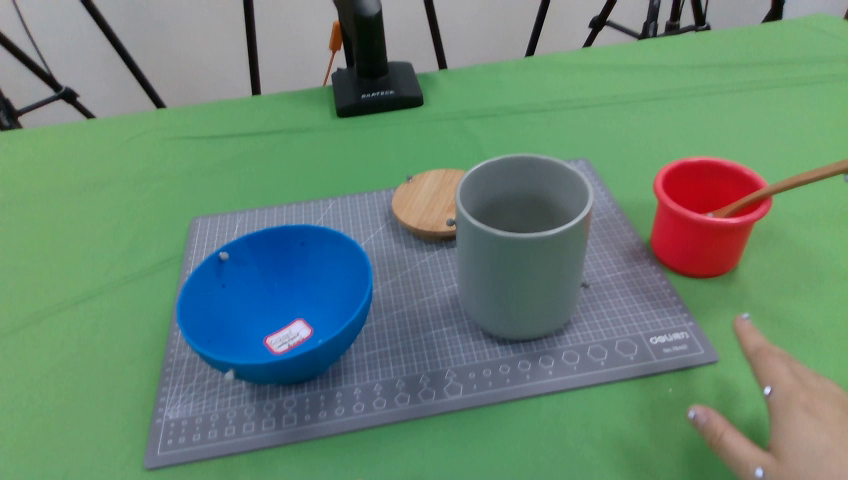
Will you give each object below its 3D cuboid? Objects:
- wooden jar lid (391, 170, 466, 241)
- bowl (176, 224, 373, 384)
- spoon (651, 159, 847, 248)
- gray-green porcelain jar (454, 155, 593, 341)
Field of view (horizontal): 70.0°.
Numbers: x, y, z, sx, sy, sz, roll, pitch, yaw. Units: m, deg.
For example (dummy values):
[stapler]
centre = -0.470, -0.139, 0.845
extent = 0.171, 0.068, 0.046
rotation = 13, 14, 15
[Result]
[wooden jar lid]
centre = 0.020, -0.036, 0.640
extent = 0.108, 0.021, 0.107
rotation = -3, 40, 3
[bowl]
centre = -0.112, 0.064, 0.494
extent = 0.151, 0.077, 0.150
rotation = -3, 41, 3
[spoon]
centre = 0.286, -0.033, 0.521
extent = 0.022, 0.193, 0.041
rotation = 47, 45, -12
[gray-green porcelain jar]
centre = 0.079, 0.011, 0.499
extent = 0.106, 0.128, 0.105
rotation = -3, 41, 3
